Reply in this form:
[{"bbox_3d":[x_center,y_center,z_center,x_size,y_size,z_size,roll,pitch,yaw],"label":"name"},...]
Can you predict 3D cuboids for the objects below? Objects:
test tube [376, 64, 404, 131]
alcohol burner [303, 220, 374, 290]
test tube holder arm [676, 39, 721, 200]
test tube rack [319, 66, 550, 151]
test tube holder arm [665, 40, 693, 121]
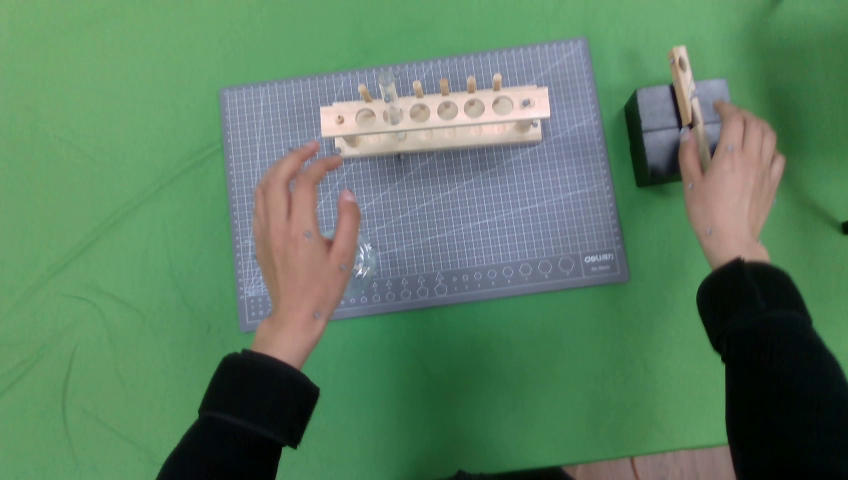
[{"bbox_3d":[-0.034,-0.144,0.630,0.017,0.150,0.017,0,81,2],"label":"test tube"},{"bbox_3d":[-0.094,0.014,0.648,0.078,0.119,0.077,0,81,1],"label":"alcohol burner"},{"bbox_3d":[0.294,-0.130,0.653,0.013,0.015,0.178,-12,84,-3],"label":"test tube holder arm"},{"bbox_3d":[0.011,-0.152,0.678,0.242,0.085,0.066,-5,82,2],"label":"test tube rack"},{"bbox_3d":[0.279,-0.173,0.657,0.010,0.015,0.087,-11,83,-3],"label":"test tube holder arm"}]
